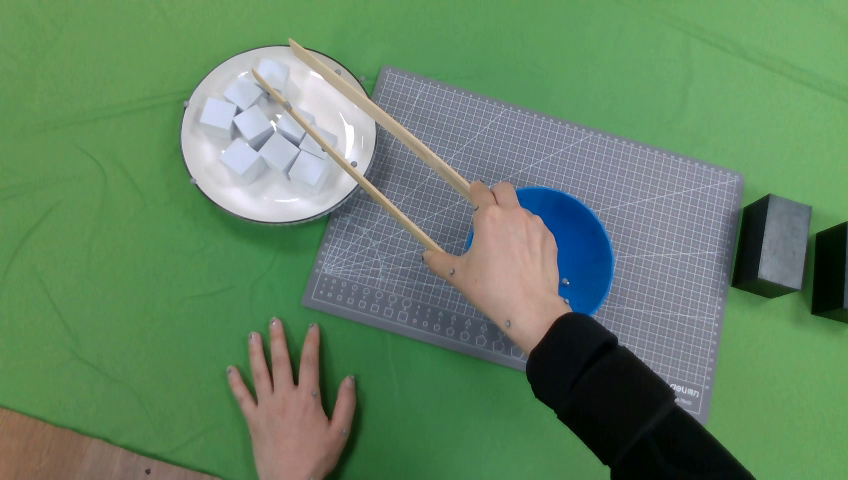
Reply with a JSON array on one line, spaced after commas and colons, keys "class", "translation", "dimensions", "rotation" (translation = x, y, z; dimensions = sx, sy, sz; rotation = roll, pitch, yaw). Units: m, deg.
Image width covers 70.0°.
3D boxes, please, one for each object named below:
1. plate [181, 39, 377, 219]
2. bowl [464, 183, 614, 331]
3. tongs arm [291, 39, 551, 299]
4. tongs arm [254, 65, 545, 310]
[{"class": "plate", "translation": [-0.155, -0.120, 0.664], "dimensions": [0.208, 0.039, 0.206], "rotation": [1, 76, -4]}, {"class": "bowl", "translation": [0.111, 0.024, 0.632], "dimensions": [0.151, 0.077, 0.150], "rotation": [2, 76, -5]}, {"class": "tongs arm", "translation": [-0.016, -0.086, 0.576], "dimensions": [0.028, 0.028, 0.384], "rotation": [-38, 65, -17]}, {"class": "tongs arm", "translation": [-0.039, -0.066, 0.570], "dimensions": [0.051, 0.027, 0.381], "rotation": [-38, 65, -13]}]
